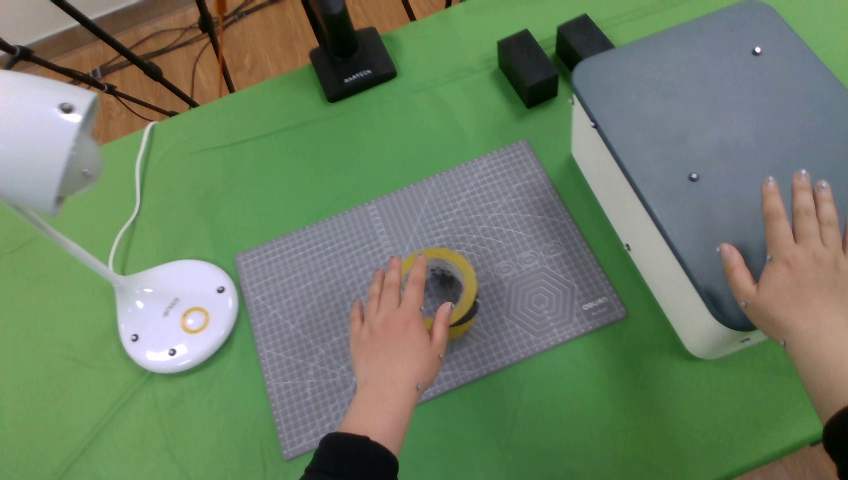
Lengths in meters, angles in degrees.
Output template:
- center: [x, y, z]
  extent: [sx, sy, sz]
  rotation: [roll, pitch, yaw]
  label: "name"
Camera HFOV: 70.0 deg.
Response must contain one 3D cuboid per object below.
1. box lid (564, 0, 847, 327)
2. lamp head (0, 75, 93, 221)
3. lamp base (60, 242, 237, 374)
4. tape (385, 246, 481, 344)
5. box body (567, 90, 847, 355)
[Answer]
- center: [0.341, -0.108, 0.654]
  extent: [0.263, 0.015, 0.368]
  rotation: [-22, 63, -2]
  label: "box lid"
- center: [-0.347, -0.082, 0.491]
  extent: [0.123, 0.112, 0.111]
  rotation: [15, 62, -21]
  label: "lamp head"
- center: [-0.353, 0.066, 0.752]
  extent: [0.178, 0.182, 0.159]
  rotation: [12, 66, 18]
  label: "lamp base"
- center: [0.011, 0.068, 0.762]
  extent: [0.117, 0.053, 0.116]
  rotation: [-3, 63, 7]
  label: "tape"
- center: [0.352, -0.073, 0.718]
  extent: [0.254, 0.162, 0.360]
  rotation: [-22, 62, -2]
  label: "box body"
